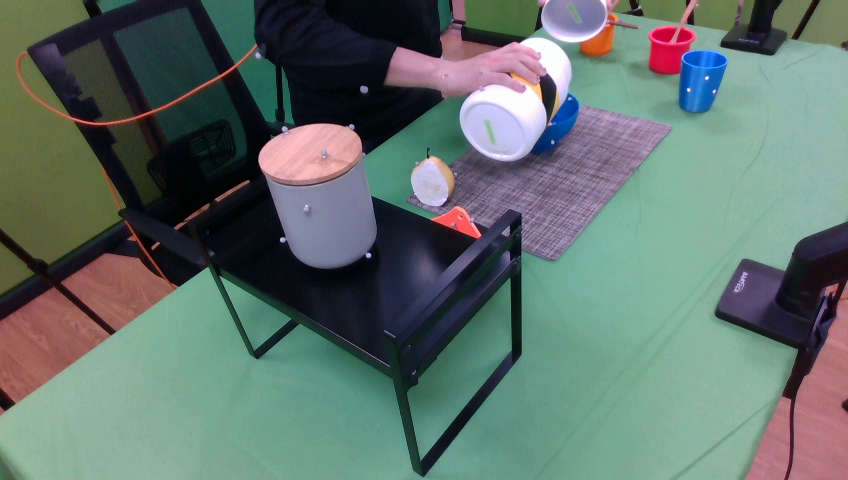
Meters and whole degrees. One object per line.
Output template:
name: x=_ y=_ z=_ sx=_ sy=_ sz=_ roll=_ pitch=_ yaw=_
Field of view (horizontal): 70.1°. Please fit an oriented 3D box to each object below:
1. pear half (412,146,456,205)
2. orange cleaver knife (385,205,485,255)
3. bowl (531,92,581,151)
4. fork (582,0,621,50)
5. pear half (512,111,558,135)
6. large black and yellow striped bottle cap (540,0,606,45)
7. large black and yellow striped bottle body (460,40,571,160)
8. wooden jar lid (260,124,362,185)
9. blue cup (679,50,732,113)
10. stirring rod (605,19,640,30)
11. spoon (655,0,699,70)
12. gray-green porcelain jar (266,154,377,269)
pear half: x=0.019 y=-0.120 z=1.042 sx=0.076 sy=0.110 sz=0.056 roll=11 pitch=44 yaw=16
orange cleaver knife: x=0.012 y=-0.010 z=0.942 sx=0.012 sy=0.077 sz=0.210 roll=-36 pitch=19 yaw=-35
bowl: x=0.220 y=-0.223 z=1.155 sx=0.151 sy=0.077 sz=0.150 roll=-4 pitch=40 yaw=4
fork: x=0.445 y=-0.539 z=1.438 sx=0.207 sy=0.019 sz=0.028 roll=-56 pitch=36 yaw=12
pear half: x=0.212 y=-0.227 z=1.153 sx=0.088 sy=0.031 sz=0.070 roll=6 pitch=44 yaw=11
large black and yellow striped bottle cap: x=0.268 y=-0.401 z=1.089 sx=0.114 sy=0.115 sz=0.018 roll=5 pitch=62 yaw=15
large black and yellow striped bottle body: x=0.156 y=-0.234 z=0.993 sx=0.130 sy=0.131 sz=0.184 roll=18 pitch=55 yaw=27
wooden jar lid: x=-0.119 y=-0.088 z=0.645 sx=0.108 sy=0.021 sz=0.108 roll=-4 pitch=40 yaw=4
blue cup: x=0.545 y=-0.309 z=1.193 sx=0.092 sy=0.100 sz=0.092 roll=-4 pitch=39 yaw=3
stirring rod: x=0.419 y=-0.508 z=1.404 sx=0.174 sy=0.006 sz=0.014 roll=28 pitch=55 yaw=35
spoon: x=0.567 y=-0.463 z=1.337 sx=0.041 sy=0.022 sz=0.193 roll=29 pitch=96 yaw=38
gray-green porcelain jar: x=-0.112 y=-0.039 z=0.685 sx=0.106 sy=0.127 sz=0.105 roll=-4 pitch=40 yaw=4
